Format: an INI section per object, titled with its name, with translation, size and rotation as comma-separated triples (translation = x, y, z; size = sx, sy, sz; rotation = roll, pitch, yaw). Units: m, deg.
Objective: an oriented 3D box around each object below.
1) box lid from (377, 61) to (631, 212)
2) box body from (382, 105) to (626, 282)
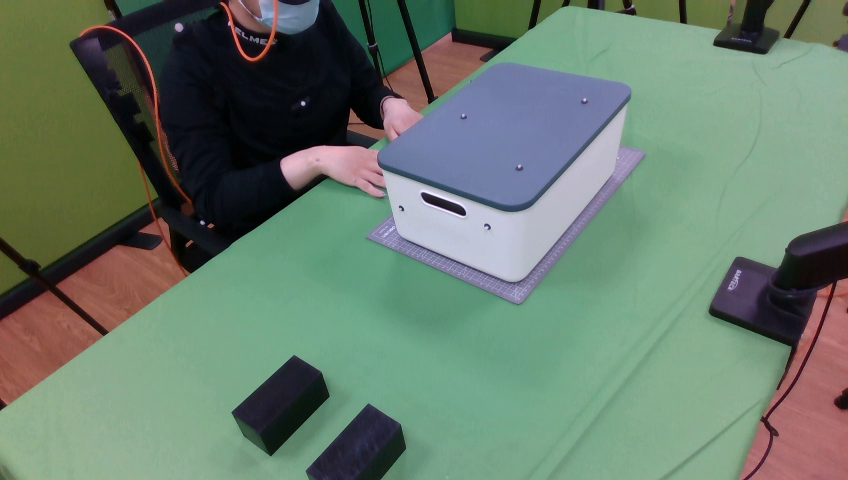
[box lid]
translation = 0.131, -0.178, 0.930
size = 0.261, 0.015, 0.372
rotation = 22, 49, 30
[box body]
translation = 0.137, -0.121, 0.978
size = 0.252, 0.161, 0.365
rotation = 22, 49, 30
